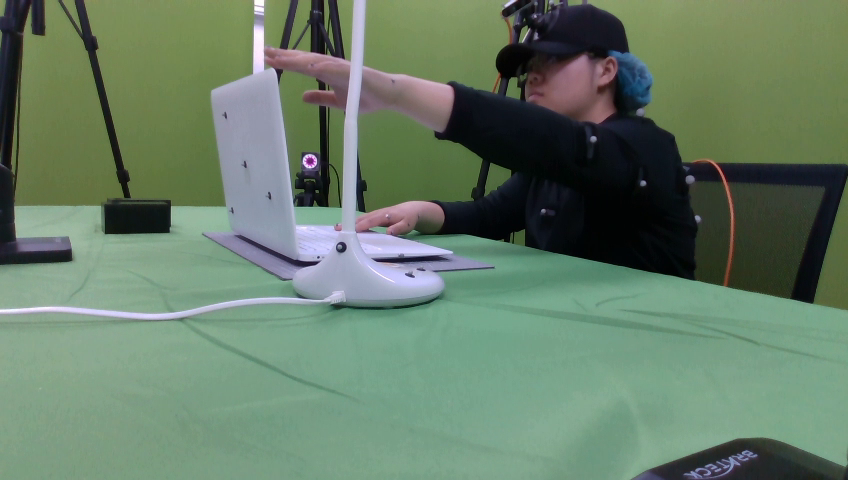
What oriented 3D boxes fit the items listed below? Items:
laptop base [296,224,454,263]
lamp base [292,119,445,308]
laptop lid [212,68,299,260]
[{"bbox_3d":[-0.143,0.004,0.957,0.237,0.023,0.352,2,6,-32],"label":"laptop base"},{"bbox_3d":[-0.056,-0.030,0.616,0.160,0.180,0.179,4,10,8],"label":"lamp base"},{"bbox_3d":[-0.254,-0.110,0.872,0.013,0.241,0.355,-10,14,-29],"label":"laptop lid"}]
